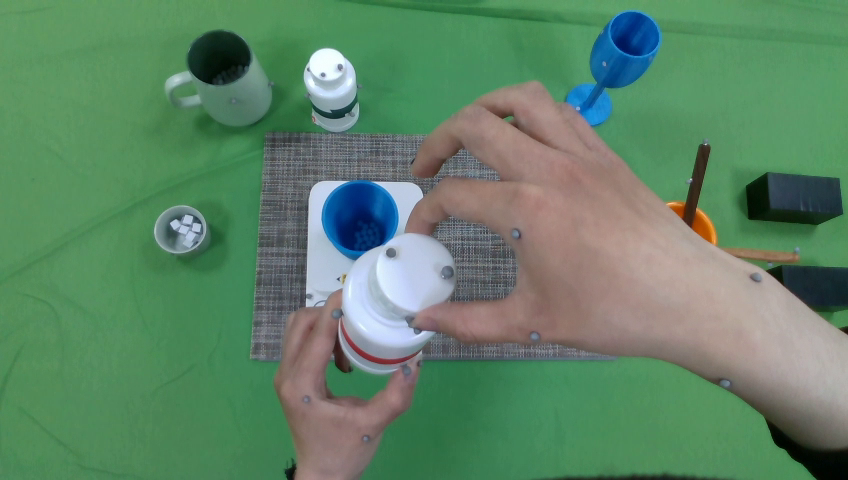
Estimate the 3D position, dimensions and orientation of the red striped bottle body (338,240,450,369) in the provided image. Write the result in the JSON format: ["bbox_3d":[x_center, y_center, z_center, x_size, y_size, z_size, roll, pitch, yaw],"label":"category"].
[{"bbox_3d":[-0.021,0.040,0.378,0.063,0.120,0.062,4,68,-9],"label":"red striped bottle body"}]

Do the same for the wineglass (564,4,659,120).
[{"bbox_3d":[0.232,-0.220,0.771,0.074,0.173,0.073,1,76,-3],"label":"wineglass"}]

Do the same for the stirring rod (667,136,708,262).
[{"bbox_3d":[0.324,-0.046,0.748,0.014,0.177,0.006,5,35,11],"label":"stirring rod"}]

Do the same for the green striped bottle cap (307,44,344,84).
[{"bbox_3d":[-0.117,-0.210,0.719,0.044,0.020,0.044,1,75,-4],"label":"green striped bottle cap"}]

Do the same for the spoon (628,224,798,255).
[{"bbox_3d":[0.344,0.005,0.737,0.022,0.192,0.041,21,80,-43],"label":"spoon"}]

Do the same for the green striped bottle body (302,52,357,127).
[{"bbox_3d":[-0.119,-0.197,0.770,0.063,0.119,0.063,1,75,-3],"label":"green striped bottle body"}]

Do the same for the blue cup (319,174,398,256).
[{"bbox_3d":[-0.075,-0.020,0.704,0.093,0.100,0.092,1,78,-6],"label":"blue cup"}]

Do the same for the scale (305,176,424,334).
[{"bbox_3d":[-0.074,0.016,0.763,0.149,0.031,0.200,-1,77,-4],"label":"scale"}]

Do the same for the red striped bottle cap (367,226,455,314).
[{"bbox_3d":[-0.006,0.015,0.314,0.045,0.018,0.044,5,71,-14],"label":"red striped bottle cap"}]

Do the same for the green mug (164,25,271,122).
[{"bbox_3d":[-0.264,-0.203,0.770,0.125,0.105,0.092,-21,79,-8],"label":"green mug"}]

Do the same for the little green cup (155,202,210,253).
[{"bbox_3d":[-0.297,-0.013,0.755,0.061,0.039,0.061,1,76,-5],"label":"little green cup"}]
